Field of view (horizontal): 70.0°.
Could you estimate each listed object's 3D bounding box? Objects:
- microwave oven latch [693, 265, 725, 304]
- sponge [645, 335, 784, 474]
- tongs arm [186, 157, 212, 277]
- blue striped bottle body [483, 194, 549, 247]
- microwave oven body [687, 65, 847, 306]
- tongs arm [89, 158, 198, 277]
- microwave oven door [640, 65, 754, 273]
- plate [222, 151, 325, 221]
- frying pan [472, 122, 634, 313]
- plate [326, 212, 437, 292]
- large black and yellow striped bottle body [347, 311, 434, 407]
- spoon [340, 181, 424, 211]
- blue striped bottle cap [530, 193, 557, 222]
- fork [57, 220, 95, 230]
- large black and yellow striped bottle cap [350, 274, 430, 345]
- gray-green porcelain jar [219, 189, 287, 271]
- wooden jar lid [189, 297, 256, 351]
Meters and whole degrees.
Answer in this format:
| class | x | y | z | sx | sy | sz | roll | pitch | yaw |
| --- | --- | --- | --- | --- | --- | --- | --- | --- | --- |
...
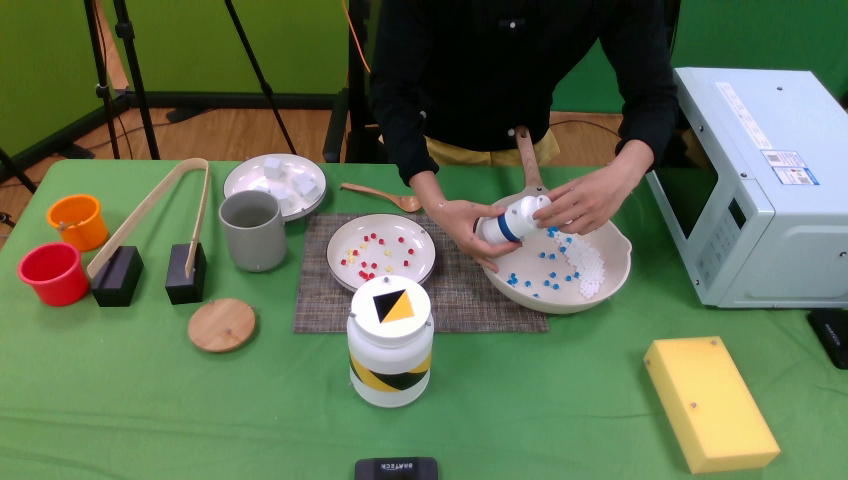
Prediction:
| class | x | y | z | sx | sy | sz | roll | pitch | yaw |
| --- | --- | --- | --- | --- | --- | --- | --- | --- | --- |
| microwave oven latch | 0.523 | 0.081 | 1.116 | 0.030 | 0.029 | 0.078 | 2 | 46 | -1 |
| sponge | 0.449 | 0.253 | 0.956 | 0.118 | 0.061 | 0.205 | -4 | 46 | -7 |
| tongs arm | -0.445 | -0.058 | 1.169 | 0.051 | 0.026 | 0.382 | -4 | 37 | -6 |
| blue striped bottle body | 0.159 | -0.035 | 1.002 | 0.063 | 0.121 | 0.063 | 16 | 62 | -33 |
| microwave oven body | 0.669 | -0.111 | 1.176 | 0.326 | 0.261 | 0.439 | 0 | 46 | -3 |
| tongs arm | -0.529 | -0.058 | 1.163 | 0.028 | 0.028 | 0.385 | 1 | 36 | 7 |
| microwave oven door | 0.523 | -0.147 | 1.193 | 0.039 | 0.245 | 0.353 | 0 | 47 | -3 |
| plate | -0.310 | -0.106 | 1.263 | 0.208 | 0.039 | 0.206 | 2 | 47 | -2 |
| frying pan | 0.235 | -0.061 | 1.208 | 0.307 | 0.103 | 0.484 | 1 | 55 | -6 |
| plate | -0.080 | 0.030 | 1.143 | 0.209 | 0.038 | 0.208 | 2 | 46 | -2 |
| large black and yellow striped bottle body | -0.052 | 0.157 | 0.929 | 0.131 | 0.185 | 0.130 | 2 | 47 | -2 |
| spoon | -0.090 | -0.100 | 1.282 | 0.193 | 0.022 | 0.041 | 18 | 65 | 13 |
| blue striped bottle cap | 0.190 | -0.052 | 0.965 | 0.045 | 0.020 | 0.044 | 14 | 66 | -34 |
| fork | -0.624 | -0.027 | 1.087 | 0.028 | 0.207 | 0.018 | -4 | 92 | -17 |
| large black and yellow striped bottle cap | -0.048 | 0.097 | 0.868 | 0.115 | 0.019 | 0.114 | 3 | 48 | -3 |
| gray-green porcelain jar | -0.310 | -0.014 | 1.113 | 0.106 | 0.127 | 0.105 | 2 | 46 | -2 |
| wooden jar lid | -0.342 | 0.145 | 1.033 | 0.108 | 0.021 | 0.107 | 2 | 45 | -2 |
